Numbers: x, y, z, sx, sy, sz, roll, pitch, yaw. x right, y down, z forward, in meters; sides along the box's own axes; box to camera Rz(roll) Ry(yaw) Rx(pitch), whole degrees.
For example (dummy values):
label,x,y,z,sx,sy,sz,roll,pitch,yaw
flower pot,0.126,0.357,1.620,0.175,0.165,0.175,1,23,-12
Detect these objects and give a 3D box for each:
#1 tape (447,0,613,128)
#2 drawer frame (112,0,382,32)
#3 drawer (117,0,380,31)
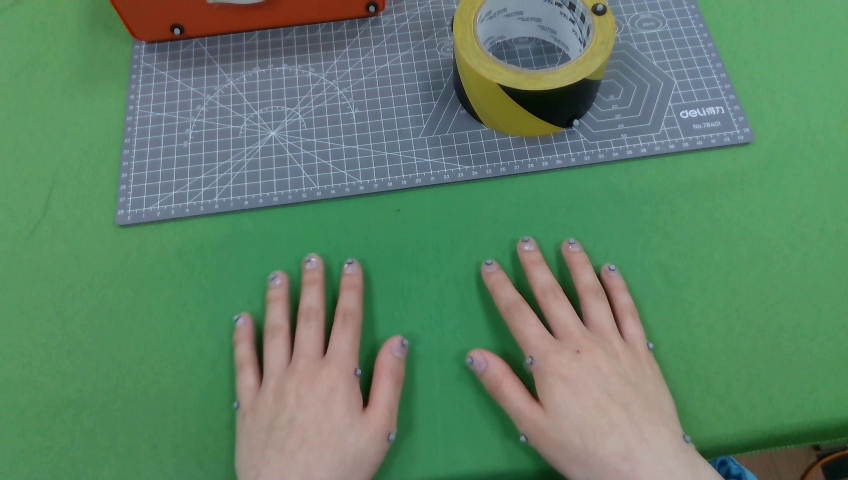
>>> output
label,x,y,z,sx,sy,sz,roll,pitch,yaw
tape,0.075,-0.139,0.433,0.117,0.053,0.116,-1,66,2
drawer frame,-0.143,-0.280,0.485,0.202,0.083,0.211,-8,65,-1
drawer,-0.141,-0.278,0.485,0.194,0.074,0.210,-7,66,-1
